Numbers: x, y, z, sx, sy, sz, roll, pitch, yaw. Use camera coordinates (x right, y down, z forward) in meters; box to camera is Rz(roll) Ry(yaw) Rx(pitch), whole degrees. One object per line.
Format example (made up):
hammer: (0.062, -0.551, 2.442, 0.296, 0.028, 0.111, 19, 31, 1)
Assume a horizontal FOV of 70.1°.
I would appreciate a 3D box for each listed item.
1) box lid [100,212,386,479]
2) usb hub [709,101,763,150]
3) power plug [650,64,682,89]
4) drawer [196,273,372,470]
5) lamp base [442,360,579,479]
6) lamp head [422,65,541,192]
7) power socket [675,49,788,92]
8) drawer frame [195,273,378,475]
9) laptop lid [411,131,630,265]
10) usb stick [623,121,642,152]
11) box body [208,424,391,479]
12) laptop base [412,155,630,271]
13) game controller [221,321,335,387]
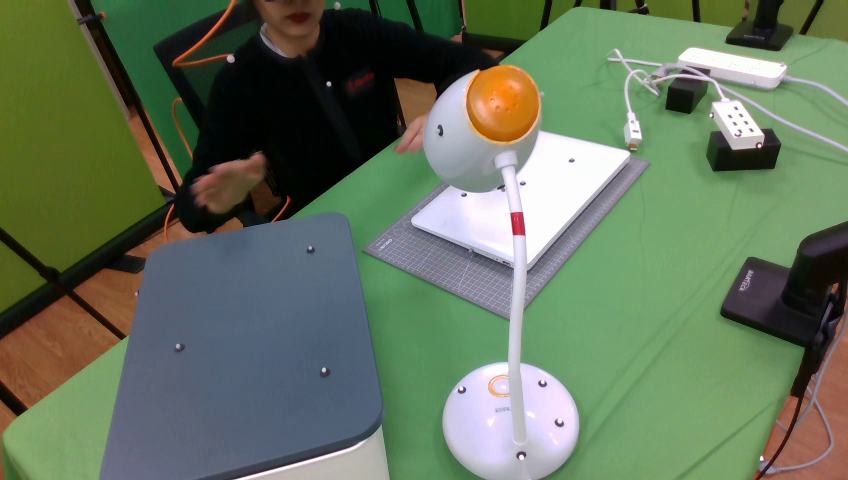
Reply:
box lid: (-0.195, 0.093, 0.680, 0.264, 0.015, 0.368, -12, 39, -6)
usb hub: (0.534, -0.199, 1.040, 0.049, 0.025, 0.124, -5, 39, 8)
power plug: (0.498, -0.341, 1.263, 0.035, 0.052, 0.072, 20, 10, -7)
drawer: (-0.184, 0.159, 0.773, 0.195, 0.073, 0.210, -17, 41, -7)
lamp base: (0.094, 0.158, 0.657, 0.161, 0.181, 0.178, -13, 42, -5)
lamp head: (0.060, -0.106, 0.560, 0.113, 0.112, 0.122, -16, 1, -8)
power socket: (0.647, -0.363, 1.284, 0.225, 0.033, 0.072, 26, 53, 35)
drawer frame: (-0.180, 0.159, 0.772, 0.202, 0.083, 0.212, -17, 42, -8)
laptop lid: (0.172, -0.094, 1.050, 0.239, 0.013, 0.358, 23, 49, 36)
usb stick: (0.389, -0.191, 1.128, 0.021, 0.027, 0.059, 9, 61, -10)
box body: (-0.190, 0.161, 0.723, 0.255, 0.161, 0.361, -13, 40, -5)
laptop base: (0.176, -0.084, 1.056, 0.233, 0.023, 0.355, 20, 48, 36)
game controller: (-0.196, 0.145, 0.812, 0.155, 0.051, 0.096, -18, 12, -10)
